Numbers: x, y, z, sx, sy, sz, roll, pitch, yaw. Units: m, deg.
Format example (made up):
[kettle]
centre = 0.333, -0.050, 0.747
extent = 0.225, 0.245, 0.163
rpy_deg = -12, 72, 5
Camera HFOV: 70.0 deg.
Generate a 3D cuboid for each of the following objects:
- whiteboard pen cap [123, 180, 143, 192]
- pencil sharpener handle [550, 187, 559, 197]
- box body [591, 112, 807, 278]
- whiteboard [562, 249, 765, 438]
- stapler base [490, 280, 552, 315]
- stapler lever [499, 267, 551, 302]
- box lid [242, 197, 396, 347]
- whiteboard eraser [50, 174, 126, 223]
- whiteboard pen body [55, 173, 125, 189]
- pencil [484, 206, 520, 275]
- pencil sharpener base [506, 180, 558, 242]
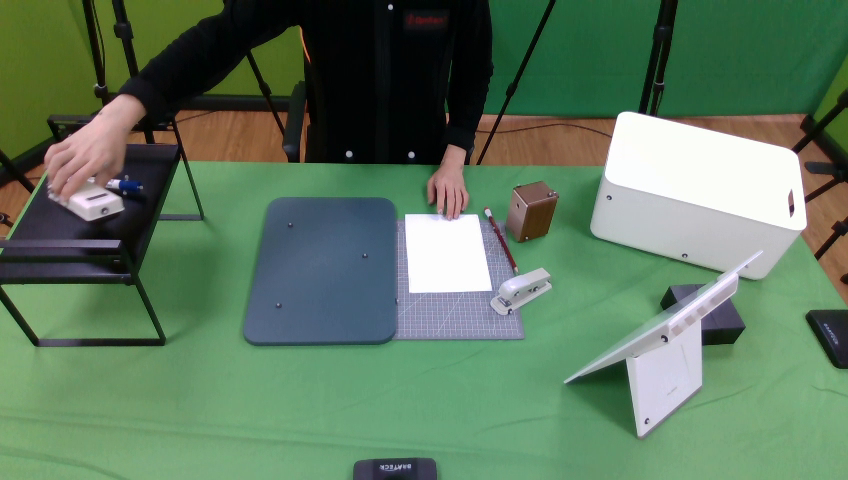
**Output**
[whiteboard pen cap]
centre = -0.479, -0.088, 0.993
extent = 0.033, 0.018, 0.018
rpy_deg = 7, 46, 14
[pencil sharpener handle]
centre = 0.261, -0.084, 1.221
extent = 0.031, 0.068, 0.036
rpy_deg = -16, 66, -19
[box body]
centre = 0.540, -0.092, 1.230
extent = 0.363, 0.161, 0.253
rpy_deg = 16, 47, 11
[whiteboard]
centre = 0.386, 0.175, 0.905
extent = 0.217, 0.306, 0.143
rpy_deg = -26, 72, -26
[stapler base]
centre = 0.181, 0.094, 1.118
extent = 0.130, 0.024, 0.041
rpy_deg = -24, 56, -29
[stapler lever]
centre = 0.185, 0.076, 1.101
extent = 0.118, 0.040, 0.026
rpy_deg = -25, 56, -29
[box lid]
centre = -0.186, 0.046, 1.147
extent = 0.263, 0.015, 0.369
rpy_deg = 0, 46, -3
[whiteboard eraser]
centre = -0.496, -0.060, 0.894
extent = 0.112, 0.042, 0.055
rpy_deg = 25, 36, 27
[whiteboard pen body]
centre = -0.539, -0.096, 0.998
extent = 0.141, 0.017, 0.017
rpy_deg = 6, 46, 6
[pencil]
centre = 0.156, -0.002, 1.218
extent = 0.012, 0.012, 0.192
rpy_deg = -10, 48, -13
[pencil sharpener base]
centre = 0.216, -0.058, 1.211
extent = 0.077, 0.107, 0.061
rpy_deg = -16, 49, -19
